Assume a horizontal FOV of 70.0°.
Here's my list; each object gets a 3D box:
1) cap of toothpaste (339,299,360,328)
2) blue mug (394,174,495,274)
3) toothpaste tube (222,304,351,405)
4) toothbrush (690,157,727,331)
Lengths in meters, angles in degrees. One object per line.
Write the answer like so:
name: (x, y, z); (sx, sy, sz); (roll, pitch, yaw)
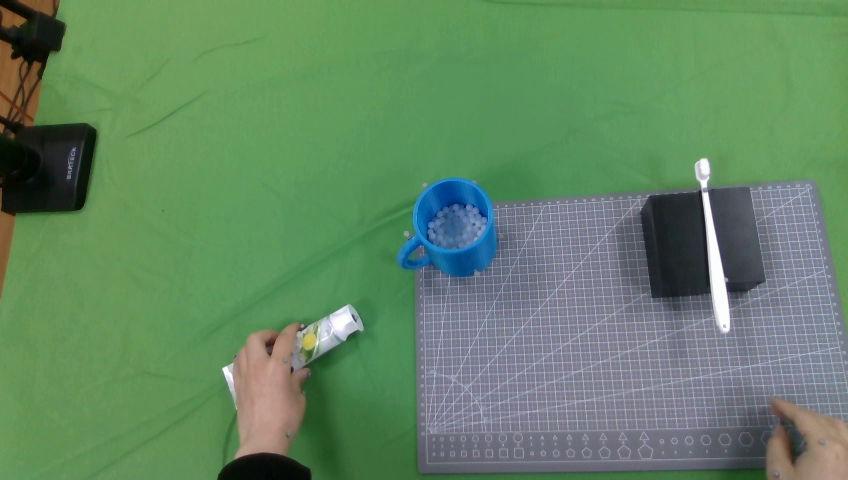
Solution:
cap of toothpaste: (-0.085, 0.084, 0.685); (0.011, 0.037, 0.037); (-30, 72, 3)
blue mug: (0.020, -0.006, 0.656); (0.116, 0.106, 0.082); (-31, 73, 0)
toothpaste tube: (-0.153, 0.122, 0.689); (0.165, 0.035, 0.054); (-31, 62, 2)
toothbrush: (0.288, 0.001, 0.612); (0.014, 0.017, 0.181); (-1, 75, 2)
